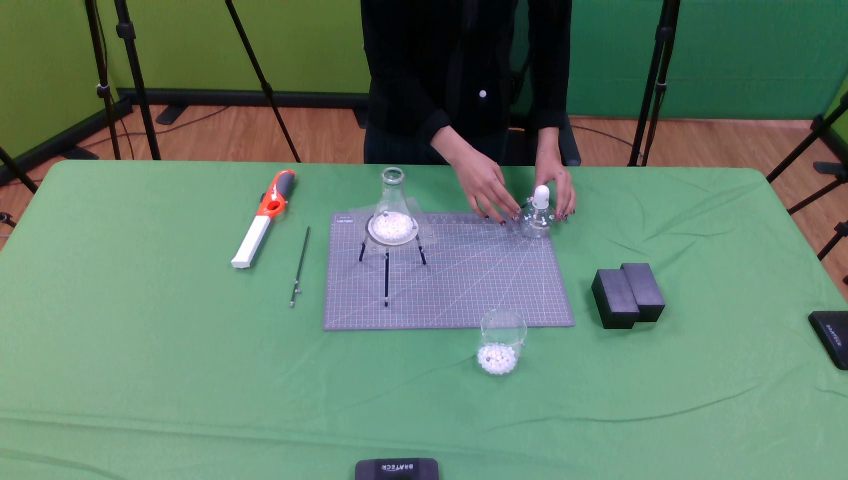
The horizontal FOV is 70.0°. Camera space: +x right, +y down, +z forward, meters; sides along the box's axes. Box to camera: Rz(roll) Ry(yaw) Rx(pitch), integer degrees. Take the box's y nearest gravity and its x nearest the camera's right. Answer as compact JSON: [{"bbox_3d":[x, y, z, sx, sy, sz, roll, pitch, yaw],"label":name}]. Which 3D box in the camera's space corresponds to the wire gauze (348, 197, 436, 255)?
[{"bbox_3d":[-0.056,-0.025,1.046,0.125,0.011,0.120,-14,46,-15],"label":"wire gauze"}]

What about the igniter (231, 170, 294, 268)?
[{"bbox_3d":[-0.321,-0.051,1.220,0.057,0.025,0.275,1,45,12],"label":"igniter"}]

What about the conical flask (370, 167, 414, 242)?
[{"bbox_3d":[-0.053,-0.062,1.000,0.075,0.122,0.075,2,43,-2],"label":"conical flask"}]

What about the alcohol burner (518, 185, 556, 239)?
[{"bbox_3d":[0.228,-0.061,1.210,0.078,0.120,0.077,1,44,-1],"label":"alcohol burner"}]

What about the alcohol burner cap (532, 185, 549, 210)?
[{"bbox_3d":[0.228,-0.085,1.183,0.034,0.048,0.033,-2,48,2],"label":"alcohol burner cap"}]

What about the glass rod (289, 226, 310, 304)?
[{"bbox_3d":[-0.235,0.043,1.150,0.008,0.008,0.198,3,46,-1],"label":"glass rod"}]

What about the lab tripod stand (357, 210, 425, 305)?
[{"bbox_3d":[-0.060,0.020,1.094,0.148,0.132,0.147,3,44,-2],"label":"lab tripod stand"}]

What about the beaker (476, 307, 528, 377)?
[{"bbox_3d":[0.122,0.171,0.991,0.084,0.101,0.073,-34,56,-31],"label":"beaker"}]
